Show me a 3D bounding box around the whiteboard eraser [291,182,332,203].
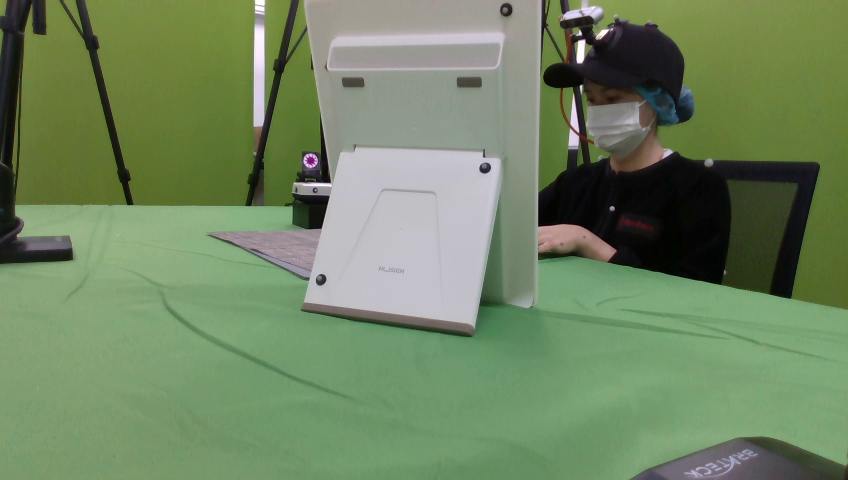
[{"bbox_3d":[-0.209,-0.097,1.234,0.113,0.042,0.055,-3,7,-35],"label":"whiteboard eraser"}]

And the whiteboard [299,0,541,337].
[{"bbox_3d":[-0.021,-0.051,0.523,0.216,0.305,0.144,6,27,20],"label":"whiteboard"}]
